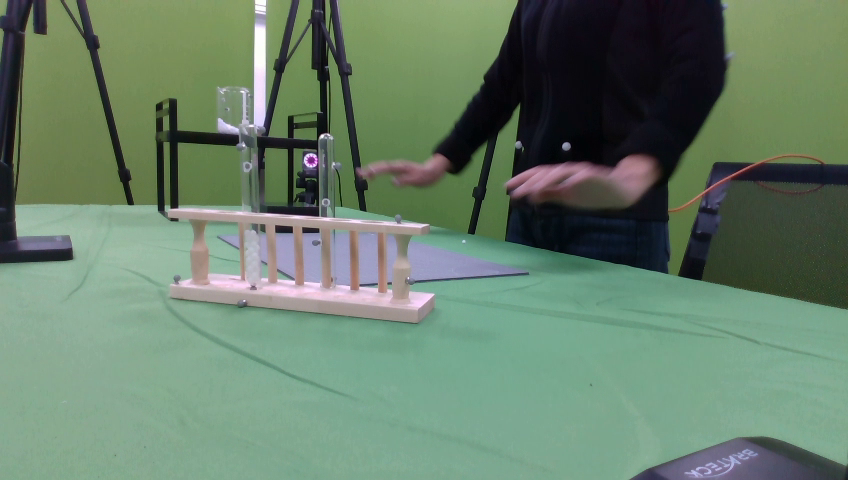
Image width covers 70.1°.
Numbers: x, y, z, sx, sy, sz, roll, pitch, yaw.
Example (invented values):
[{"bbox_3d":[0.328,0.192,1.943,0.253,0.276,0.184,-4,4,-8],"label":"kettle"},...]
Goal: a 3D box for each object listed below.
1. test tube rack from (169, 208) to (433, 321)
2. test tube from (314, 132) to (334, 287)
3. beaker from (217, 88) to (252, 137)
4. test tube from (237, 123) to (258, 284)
[{"bbox_3d":[-0.115,0.018,0.574,0.242,0.085,0.067,4,8,13],"label":"test tube rack"},{"bbox_3d":[-0.096,-0.028,0.583,0.017,0.150,0.017,0,9,0],"label":"test tube"},{"bbox_3d":[-0.412,-0.276,1.310,0.074,0.100,0.084,4,8,16],"label":"beaker"},{"bbox_3d":[-0.163,-0.032,0.559,0.017,0.150,0.017,3,13,0],"label":"test tube"}]
